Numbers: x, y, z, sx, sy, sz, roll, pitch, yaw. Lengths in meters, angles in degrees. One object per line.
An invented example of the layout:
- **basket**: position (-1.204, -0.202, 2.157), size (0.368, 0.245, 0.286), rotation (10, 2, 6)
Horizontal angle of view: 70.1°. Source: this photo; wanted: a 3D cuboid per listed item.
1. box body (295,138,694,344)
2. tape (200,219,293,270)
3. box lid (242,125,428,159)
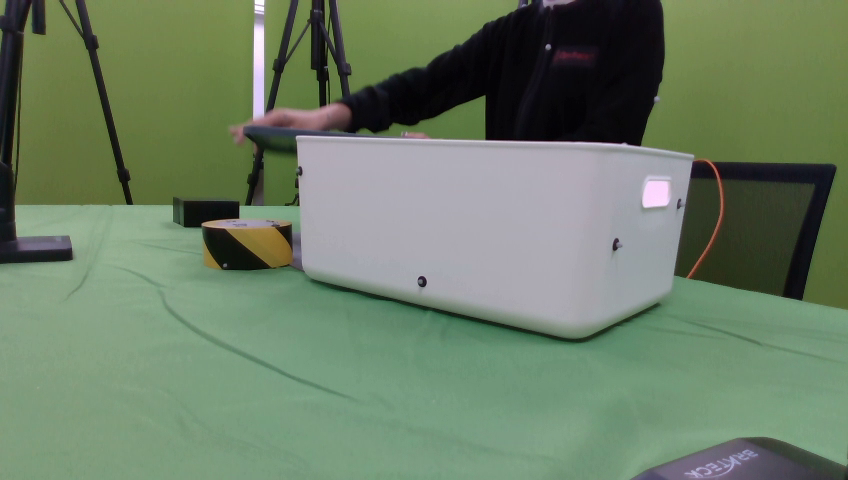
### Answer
- **box body**: position (0.065, -0.020, 0.653), size (0.362, 0.160, 0.255), rotation (9, 9, 36)
- **tape**: position (-0.228, 0.004, 0.777), size (0.117, 0.052, 0.117), rotation (1, 8, 0)
- **box lid**: position (-0.143, -0.146, 0.998), size (0.264, 0.015, 0.370), rotation (4, 2, -10)
